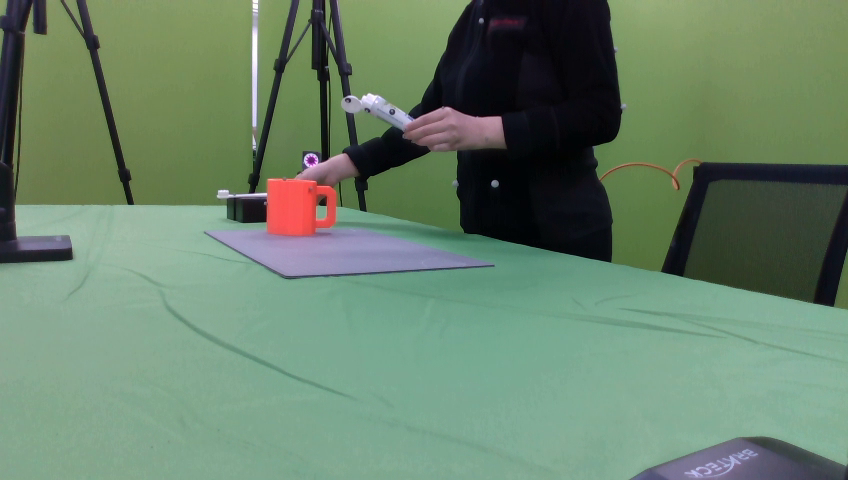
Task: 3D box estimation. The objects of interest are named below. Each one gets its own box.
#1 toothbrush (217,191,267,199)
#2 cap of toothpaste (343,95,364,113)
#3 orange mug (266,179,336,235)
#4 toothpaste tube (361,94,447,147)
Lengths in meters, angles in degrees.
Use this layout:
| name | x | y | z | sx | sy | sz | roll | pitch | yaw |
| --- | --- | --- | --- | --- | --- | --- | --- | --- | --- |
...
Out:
| name | x | y | z | sx | sy | sz | roll | pitch | yaw |
| --- | --- | --- | --- | --- | --- | --- | --- | --- | --- |
| toothbrush | -0.343 | -0.097 | 1.280 | 0.183 | 0.016 | 0.014 | -4 | 22 | -31 |
| cap of toothpaste | -0.118 | -0.231 | 1.016 | 0.037 | 0.011 | 0.037 | -1 | -37 | 0 |
| orange mug | -0.222 | -0.062 | 1.094 | 0.127 | 0.101 | 0.083 | -5 | 10 | -22 |
| toothpaste tube | -0.034 | -0.204 | 1.038 | 0.165 | 0.034 | 0.055 | 28 | 25 | -5 |
